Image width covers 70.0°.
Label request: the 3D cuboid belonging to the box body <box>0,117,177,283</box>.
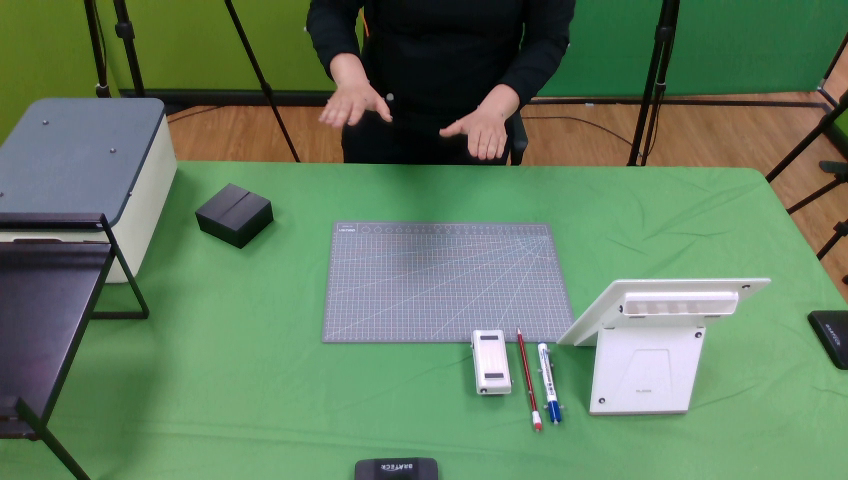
[{"bbox_3d":[-0.640,-0.095,1.140,0.254,0.161,0.361,0,46,-4],"label":"box body"}]

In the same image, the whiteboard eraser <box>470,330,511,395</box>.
[{"bbox_3d":[0.110,0.202,0.998,0.055,0.042,0.112,1,46,-5],"label":"whiteboard eraser"}]

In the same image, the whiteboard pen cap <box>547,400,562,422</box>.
[{"bbox_3d":[0.205,0.269,0.956,0.018,0.018,0.033,0,47,-5],"label":"whiteboard pen cap"}]

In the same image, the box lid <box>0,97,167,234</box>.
[{"bbox_3d":[-0.636,-0.145,1.086,0.263,0.015,0.369,0,46,-4],"label":"box lid"}]

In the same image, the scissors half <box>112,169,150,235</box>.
[{"bbox_3d":[-0.596,-0.078,1.225,0.040,0.013,0.174,7,53,1],"label":"scissors half"}]

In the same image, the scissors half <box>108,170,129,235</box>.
[{"bbox_3d":[-0.617,-0.077,1.223,0.040,0.013,0.174,-14,54,-8],"label":"scissors half"}]

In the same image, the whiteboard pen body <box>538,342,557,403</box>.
[{"bbox_3d":[0.205,0.228,0.997,0.017,0.017,0.140,1,46,-3],"label":"whiteboard pen body"}]

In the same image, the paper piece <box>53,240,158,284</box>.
[{"bbox_3d":[-0.593,0.037,1.135,0.136,0.009,0.137,3,32,8],"label":"paper piece"}]

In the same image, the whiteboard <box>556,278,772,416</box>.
[{"bbox_3d":[0.347,0.174,0.903,0.217,0.306,0.143,1,65,-4],"label":"whiteboard"}]

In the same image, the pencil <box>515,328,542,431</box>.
[{"bbox_3d":[0.169,0.224,1.002,0.012,0.012,0.192,-1,46,-6],"label":"pencil"}]
